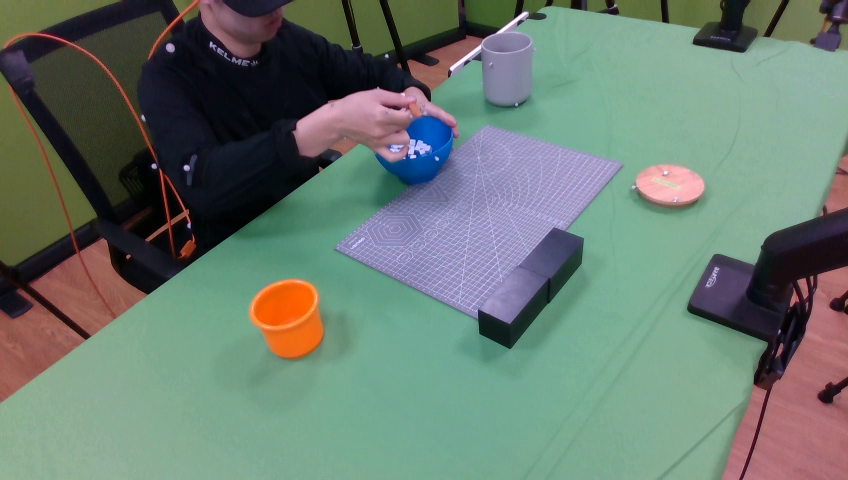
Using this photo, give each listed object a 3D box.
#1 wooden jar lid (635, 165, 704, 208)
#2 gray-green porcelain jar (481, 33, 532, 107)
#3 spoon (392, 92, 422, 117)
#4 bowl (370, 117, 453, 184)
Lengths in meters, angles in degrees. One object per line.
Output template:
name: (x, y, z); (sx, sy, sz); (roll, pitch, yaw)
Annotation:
wooden jar lid: (0.410, -0.089, 1.014); (0.108, 0.021, 0.108); (-5, 42, 5)
gray-green porcelain jar: (0.175, -0.355, 1.278); (0.106, 0.127, 0.105); (-4, 41, 4)
spoon: (-0.024, -0.215, 0.952); (0.042, 0.022, 0.193); (-8, 19, -5)
bowl: (-0.017, -0.155, 1.106); (0.151, 0.077, 0.150); (-6, 39, 5)
